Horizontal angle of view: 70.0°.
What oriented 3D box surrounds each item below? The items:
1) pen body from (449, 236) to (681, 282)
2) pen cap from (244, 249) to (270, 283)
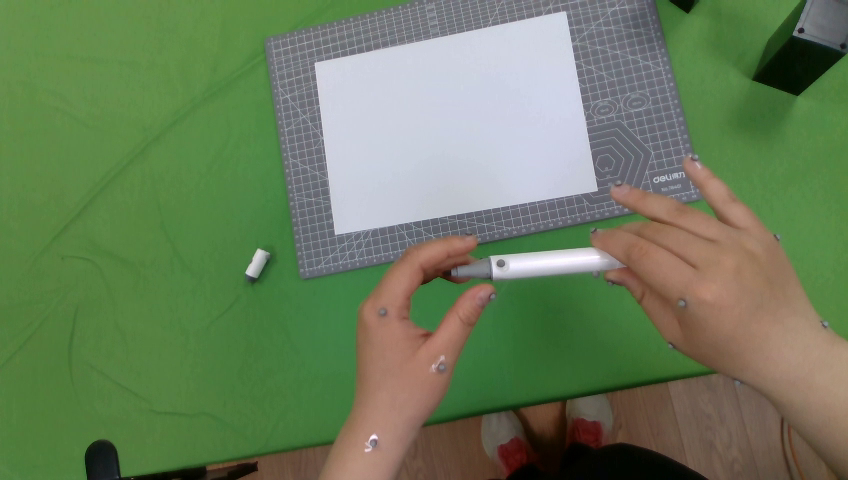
[{"bbox_3d":[0.087,0.014,0.381,0.144,0.017,0.017,-7,81,-1],"label":"pen body"},{"bbox_3d":[-0.193,0.030,0.697,0.017,0.017,0.038,27,87,12],"label":"pen cap"}]
